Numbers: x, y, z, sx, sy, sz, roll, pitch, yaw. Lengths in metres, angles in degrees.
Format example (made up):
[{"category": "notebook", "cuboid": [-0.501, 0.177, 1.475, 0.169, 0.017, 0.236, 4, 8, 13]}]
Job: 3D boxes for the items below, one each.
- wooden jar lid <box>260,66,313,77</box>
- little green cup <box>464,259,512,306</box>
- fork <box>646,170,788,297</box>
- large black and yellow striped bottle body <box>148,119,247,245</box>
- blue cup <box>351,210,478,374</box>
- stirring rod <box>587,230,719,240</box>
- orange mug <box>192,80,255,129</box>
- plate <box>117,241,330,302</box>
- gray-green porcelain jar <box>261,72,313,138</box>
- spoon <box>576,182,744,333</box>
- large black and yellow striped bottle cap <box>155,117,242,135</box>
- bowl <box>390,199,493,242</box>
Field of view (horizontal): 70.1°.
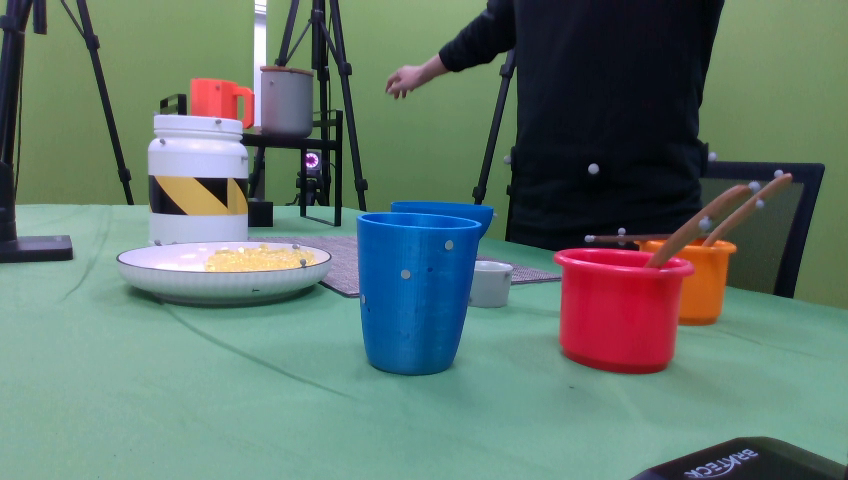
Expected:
[{"category": "wooden jar lid", "cuboid": [-0.283, -0.339, 1.245, 0.108, 0.020, 0.108, 5, 8, 0]}, {"category": "little green cup", "cuboid": [0.057, 0.043, 0.611, 0.061, 0.038, 0.061, 3, 7, 0]}, {"category": "fork", "cuboid": [0.256, 0.004, 0.543, 0.028, 0.018, 0.207, 3, -36, -9]}, {"category": "large black and yellow striped bottle body", "cuboid": [-0.318, -0.076, 0.855, 0.131, 0.184, 0.130, 2, 7, 0]}, {"category": "blue cup", "cuboid": [-0.009, 0.034, 0.414, 0.093, 0.100, 0.092, 4, 8, 0]}, {"category": "stirring rod", "cuboid": [0.226, -0.005, 0.587, 0.177, 0.006, 0.014, -2, 10, -29]}, {"category": "orange mug", "cuboid": [-0.389, -0.257, 1.172, 0.126, 0.100, 0.083, -1, 6, 9]}, {"category": "plate", "cuboid": [-0.203, 0.031, 0.630, 0.209, 0.038, 0.209, 3, 7, 0]}, {"category": "gray-green porcelain jar", "cuboid": [-0.284, -0.276, 1.253, 0.106, 0.126, 0.106, 2, 8, 0]}, {"category": "spoon", "cuboid": [0.152, 0.020, 0.410, 0.042, 0.021, 0.193, -1, -36, -13]}, {"category": "large black and yellow striped bottle cap", "cuboid": [-0.313, -0.159, 0.845, 0.115, 0.019, 0.115, 3, 9, 0]}, {"category": "bowl", "cuboid": [0.023, -0.016, 0.874, 0.151, 0.077, 0.151, 3, 7, 0]}]
